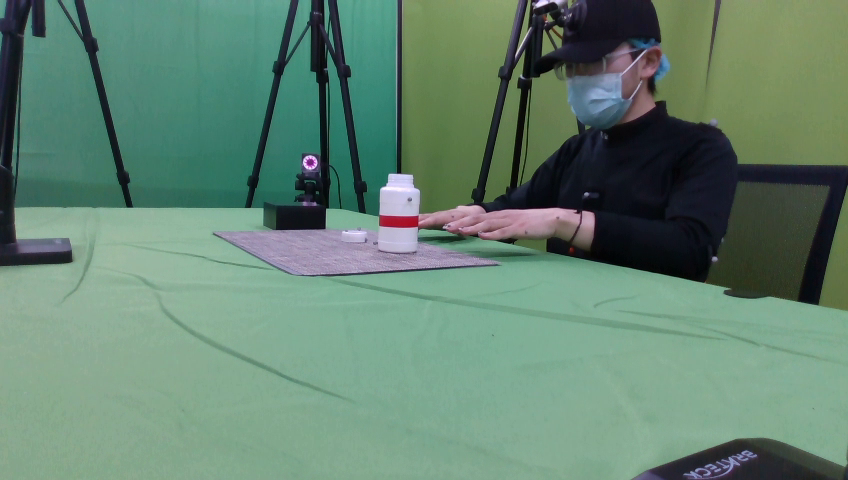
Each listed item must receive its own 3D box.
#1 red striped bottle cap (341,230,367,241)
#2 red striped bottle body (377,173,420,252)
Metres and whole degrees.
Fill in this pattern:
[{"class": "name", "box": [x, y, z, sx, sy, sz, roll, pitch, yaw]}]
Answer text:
[{"class": "red striped bottle cap", "box": [-0.120, -0.008, 1.034, 0.044, 0.017, 0.044, -2, 2, 0]}, {"class": "red striped bottle body", "box": [-0.039, -0.044, 0.936, 0.063, 0.119, 0.063, 2, 7, 0]}]
